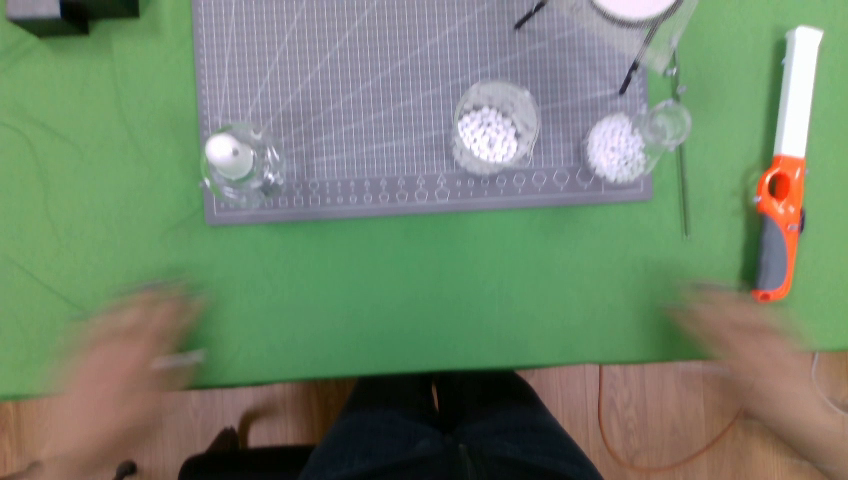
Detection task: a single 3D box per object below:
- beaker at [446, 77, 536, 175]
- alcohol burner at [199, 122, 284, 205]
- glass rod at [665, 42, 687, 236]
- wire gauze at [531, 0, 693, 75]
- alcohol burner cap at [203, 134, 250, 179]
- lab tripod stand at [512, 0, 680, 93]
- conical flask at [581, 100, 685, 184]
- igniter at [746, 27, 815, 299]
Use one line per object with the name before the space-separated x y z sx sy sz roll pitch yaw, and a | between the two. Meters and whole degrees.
beaker | 0.059 -0.099 0.565 0.074 0.100 0.084 -39 91 -1
alcohol burner | -0.170 -0.071 0.549 0.078 0.119 0.078 0 91 -1
glass rod | 0.258 -0.104 0.621 0.008 0.008 0.199 -5 90 -2
wire gauze | 0.162 -0.216 0.485 0.125 0.011 0.121 29 91 -1
alcohol burner cap | -0.169 -0.073 0.513 0.034 0.048 0.034 1 83 -4
lab tripod stand | 0.163 -0.213 0.552 0.148 0.131 0.148 0 91 -1
conical flask | 0.196 -0.095 0.559 0.075 0.122 0.075 0 89 -2
igniter | 0.363 -0.076 0.616 0.057 0.025 0.276 8 90 -12
